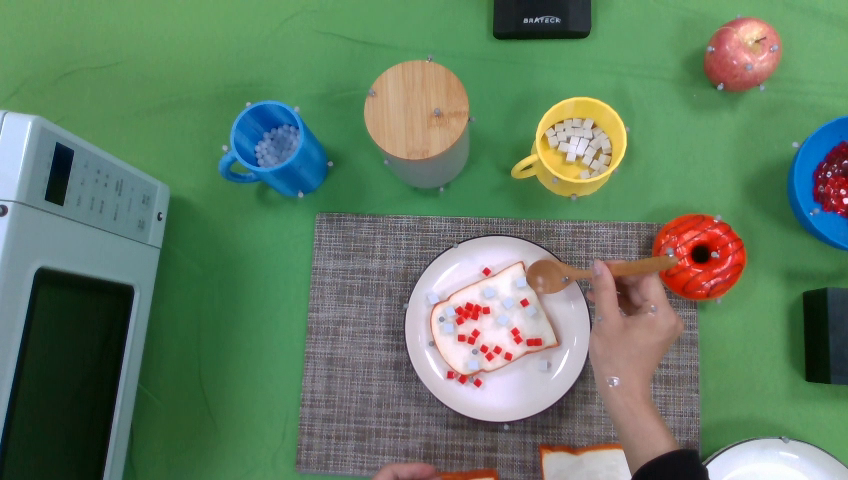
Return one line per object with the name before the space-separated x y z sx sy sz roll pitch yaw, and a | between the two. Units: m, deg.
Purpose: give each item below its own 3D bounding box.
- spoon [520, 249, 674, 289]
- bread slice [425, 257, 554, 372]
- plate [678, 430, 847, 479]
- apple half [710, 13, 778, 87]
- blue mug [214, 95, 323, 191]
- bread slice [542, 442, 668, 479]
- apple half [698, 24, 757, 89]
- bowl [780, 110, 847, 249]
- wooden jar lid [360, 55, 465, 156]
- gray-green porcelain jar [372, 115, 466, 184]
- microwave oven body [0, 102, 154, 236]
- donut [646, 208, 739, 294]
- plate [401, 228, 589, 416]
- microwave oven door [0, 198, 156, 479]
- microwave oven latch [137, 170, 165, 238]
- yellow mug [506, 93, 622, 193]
spoon | 0.165 0.027 0.605 0.022 0.193 0.041 -22 95 -29
bread slice | 0.069 0.092 0.688 0.131 0.019 0.104 -24 79 -1
plate | 0.359 0.304 0.633 0.209 0.038 0.208 -1 81 5
apple half | 0.371 -0.222 0.698 0.053 0.075 0.080 -30 76 -6
blue mug | -0.185 -0.103 0.707 0.116 0.106 0.082 -23 79 1
bread slice | 0.193 0.267 0.626 0.135 0.018 0.106 -3 77 -16
apple half | 0.338 -0.201 0.696 0.033 0.081 0.081 -30 79 -5
bowl | 0.457 -0.058 0.662 0.151 0.077 0.151 -1 81 5
wooden jar lid | -0.011 -0.136 0.625 0.108 0.021 0.108 -1 79 5
gray-green porcelain jar | -0.006 -0.125 0.686 0.106 0.127 0.105 -1 80 5
microwave oven body | -0.507 0.101 0.618 0.326 0.261 0.440 5 82 5
donut | 0.299 0.012 0.677 0.099 0.048 0.098 -1 82 5
plate | 0.079 0.091 0.686 0.207 0.039 0.207 -1 81 5
microwave oven door | -0.367 0.155 0.593 0.039 0.245 0.354 5 81 6
microwave oven latch | -0.333 -0.043 0.725 0.030 0.029 0.079 7 82 5
yellow mug | 0.157 -0.105 0.700 0.131 0.064 0.099 -22 79 2
